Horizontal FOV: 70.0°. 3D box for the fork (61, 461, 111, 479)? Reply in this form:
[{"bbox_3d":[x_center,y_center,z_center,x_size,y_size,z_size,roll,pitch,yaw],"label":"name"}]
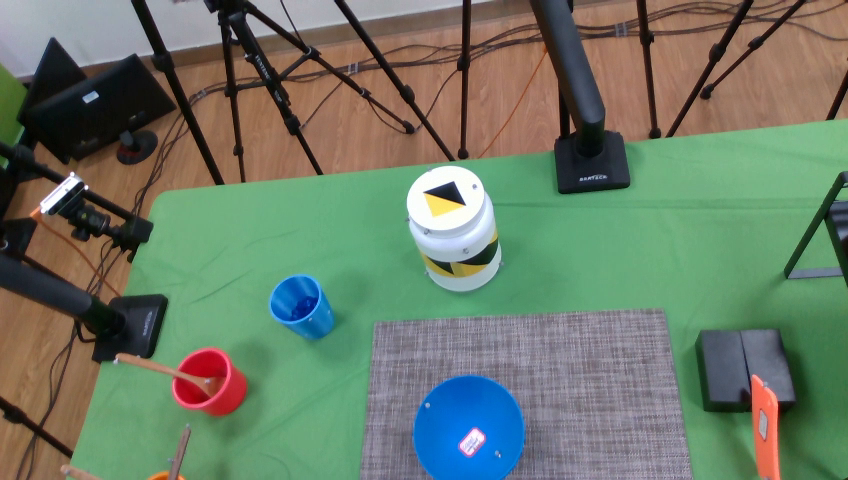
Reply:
[{"bbox_3d":[-0.405,0.356,0.849,0.209,0.018,0.028,33,74,-19],"label":"fork"}]

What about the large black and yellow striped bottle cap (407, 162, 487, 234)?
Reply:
[{"bbox_3d":[0.033,-0.062,0.876,0.115,0.019,0.114,-6,59,11],"label":"large black and yellow striped bottle cap"}]

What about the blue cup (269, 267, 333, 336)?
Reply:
[{"bbox_3d":[-0.190,0.110,0.975,0.092,0.101,0.092,-5,60,9],"label":"blue cup"}]

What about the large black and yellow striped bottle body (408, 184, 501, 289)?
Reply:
[{"bbox_3d":[0.048,-0.019,0.947,0.130,0.186,0.129,-6,58,10],"label":"large black and yellow striped bottle body"}]

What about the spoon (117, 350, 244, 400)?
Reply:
[{"bbox_3d":[-0.374,0.204,0.938,0.195,0.021,0.041,27,59,-22],"label":"spoon"}]

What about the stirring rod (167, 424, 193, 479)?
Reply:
[{"bbox_3d":[-0.354,0.344,0.842,0.014,0.006,0.174,1,60,12],"label":"stirring rod"}]

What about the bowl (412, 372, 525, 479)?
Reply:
[{"bbox_3d":[0.065,0.265,0.830,0.151,0.077,0.150,-6,58,10],"label":"bowl"}]

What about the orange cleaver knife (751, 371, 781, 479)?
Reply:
[{"bbox_3d":[0.423,0.270,0.743,0.012,0.077,0.211,-5,88,6],"label":"orange cleaver knife"}]
